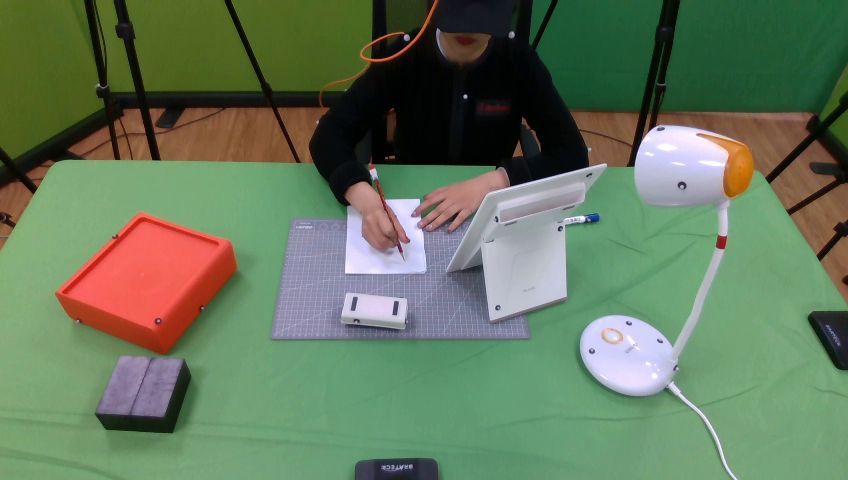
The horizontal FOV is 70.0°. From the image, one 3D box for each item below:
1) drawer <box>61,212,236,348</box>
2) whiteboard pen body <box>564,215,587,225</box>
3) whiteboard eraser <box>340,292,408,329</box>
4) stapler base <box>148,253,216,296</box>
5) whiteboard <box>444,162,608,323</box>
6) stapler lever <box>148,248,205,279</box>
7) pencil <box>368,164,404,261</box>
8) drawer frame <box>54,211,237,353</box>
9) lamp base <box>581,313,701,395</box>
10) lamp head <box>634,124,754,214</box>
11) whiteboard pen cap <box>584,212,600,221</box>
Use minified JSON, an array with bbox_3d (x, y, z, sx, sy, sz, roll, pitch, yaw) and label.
[{"bbox_3d":[-0.473,0.064,1.060,0.194,0.073,0.211,18,48,11],"label":"drawer"},{"bbox_3d":[0.291,-0.040,1.261,0.141,0.017,0.017,-6,47,-11],"label":"whiteboard pen body"},{"bbox_3d":[-0.087,0.125,1.052,0.113,0.042,0.055,5,45,1],"label":"whiteboard eraser"},{"bbox_3d":[-0.443,0.058,1.108,0.130,0.024,0.041,24,52,11],"label":"stapler base"},{"bbox_3d":[0.186,0.026,1.028,0.217,0.306,0.143,-14,68,-17],"label":"whiteboard"},{"bbox_3d":[-0.443,0.038,1.083,0.118,0.040,0.027,19,51,17],"label":"stapler lever"},{"bbox_3d":[-0.070,-0.051,1.142,0.012,0.194,0.012,-18,9,3],"label":"pencil"},{"bbox_3d":[-0.473,0.067,1.055,0.201,0.083,0.212,17,48,11],"label":"drawer frame"},{"bbox_3d":[0.361,0.144,0.973,0.178,0.181,0.160,34,53,23],"label":"lamp base"},{"bbox_3d":[0.351,-0.089,0.776,0.112,0.113,0.122,-30,30,-28],"label":"lamp head"},{"bbox_3d":[0.351,-0.048,1.271,0.033,0.018,0.018,-6,47,-11],"label":"whiteboard pen cap"}]
